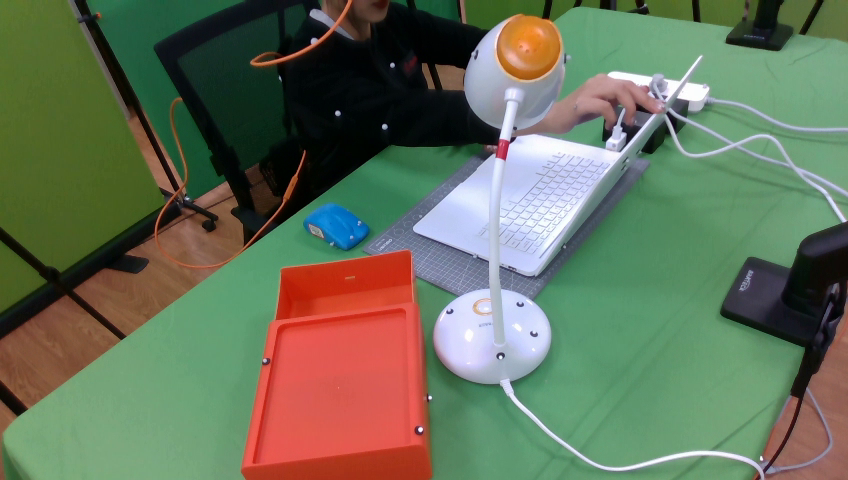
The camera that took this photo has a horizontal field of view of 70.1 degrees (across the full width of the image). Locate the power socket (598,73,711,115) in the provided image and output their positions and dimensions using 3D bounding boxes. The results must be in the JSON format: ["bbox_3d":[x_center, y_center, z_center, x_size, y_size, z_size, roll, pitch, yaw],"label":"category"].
[{"bbox_3d":[0.470,-0.303,1.248,0.225,0.033,0.072,20,49,30],"label":"power socket"}]

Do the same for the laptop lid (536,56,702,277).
[{"bbox_3d":[0.291,-0.110,0.893,0.013,0.242,0.357,37,54,13],"label":"laptop lid"}]

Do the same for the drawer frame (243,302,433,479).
[{"bbox_3d":[-0.096,0.185,0.738,0.202,0.083,0.212,-8,40,1],"label":"drawer frame"}]

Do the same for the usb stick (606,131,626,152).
[{"bbox_3d":[0.350,-0.174,1.111,0.021,0.027,0.059,22,50,28],"label":"usb stick"}]

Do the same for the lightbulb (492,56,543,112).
[{"bbox_3d":[0.108,-0.180,0.679,0.059,0.059,0.107,-9,-2,1],"label":"lightbulb"}]

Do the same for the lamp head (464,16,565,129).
[{"bbox_3d":[0.101,-0.184,0.655,0.112,0.112,0.123,-9,1,0],"label":"lamp head"}]

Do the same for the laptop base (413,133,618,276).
[{"bbox_3d":[0.176,-0.077,1.048,0.233,0.023,0.355,19,47,34],"label":"laptop base"}]

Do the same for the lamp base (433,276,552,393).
[{"bbox_3d":[0.085,0.075,0.756,0.161,0.181,0.178,-14,44,-5],"label":"lamp base"}]

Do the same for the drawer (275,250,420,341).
[{"bbox_3d":[-0.104,0.117,0.825,0.194,0.073,0.210,-8,40,1],"label":"drawer"}]

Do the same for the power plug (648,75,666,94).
[{"bbox_3d":[0.457,-0.301,1.212,0.073,0.053,0.035,-36,46,-28],"label":"power plug"}]

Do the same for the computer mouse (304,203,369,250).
[{"bbox_3d":[-0.151,-0.026,1.037,0.116,0.041,0.063,28,50,31],"label":"computer mouse"}]
